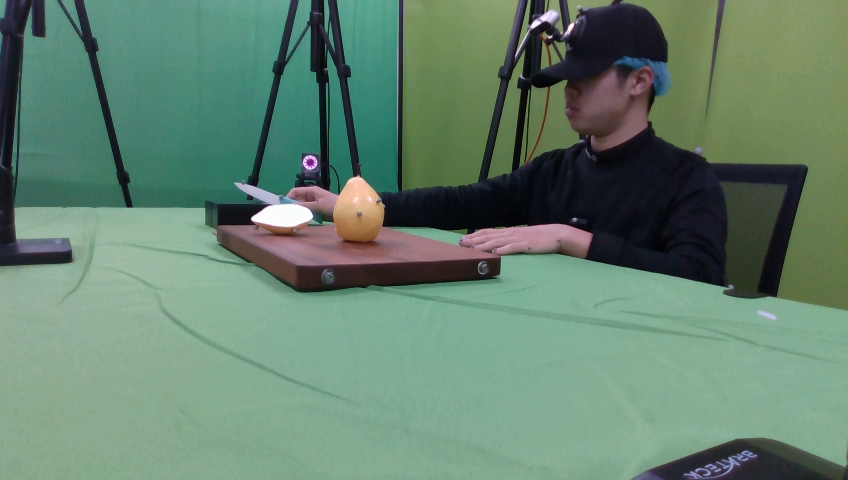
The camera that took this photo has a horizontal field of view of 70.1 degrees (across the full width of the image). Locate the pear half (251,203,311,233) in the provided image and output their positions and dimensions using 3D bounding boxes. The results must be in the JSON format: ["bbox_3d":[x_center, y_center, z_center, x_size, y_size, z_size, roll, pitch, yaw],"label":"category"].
[{"bbox_3d":[-0.212,-0.027,0.900,0.088,0.031,0.070,-16,30,-26],"label":"pear half"}]

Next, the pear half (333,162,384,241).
[{"bbox_3d":[-0.085,-0.053,0.842,0.056,0.110,0.076,7,12,28],"label":"pear half"}]

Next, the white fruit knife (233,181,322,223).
[{"bbox_3d":[-0.295,-0.081,1.242,0.208,0.027,0.016,22,-15,-38],"label":"white fruit knife"}]
